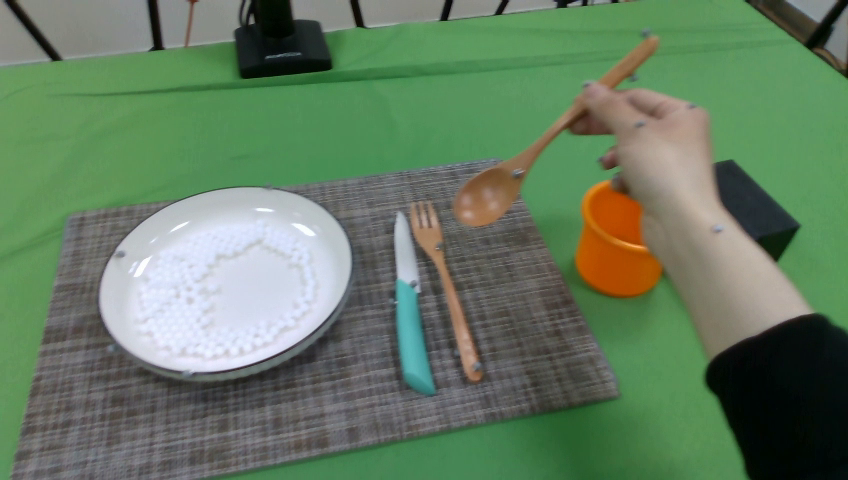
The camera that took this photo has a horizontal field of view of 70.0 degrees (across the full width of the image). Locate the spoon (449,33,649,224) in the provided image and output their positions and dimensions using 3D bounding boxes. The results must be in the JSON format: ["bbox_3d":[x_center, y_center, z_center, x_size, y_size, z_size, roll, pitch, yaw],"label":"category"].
[{"bbox_3d":[0.094,-0.083,0.460,0.194,0.022,0.041,-44,67,16],"label":"spoon"}]

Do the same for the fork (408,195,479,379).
[{"bbox_3d":[0.016,0.033,0.542,0.028,0.019,0.205,0,45,-19],"label":"fork"}]

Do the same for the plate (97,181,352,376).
[{"bbox_3d":[-0.165,0.030,0.525,0.209,0.038,0.207,1,47,-1],"label":"plate"}]

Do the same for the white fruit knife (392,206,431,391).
[{"bbox_3d":[-0.017,0.040,0.539,0.027,0.016,0.205,20,39,-26],"label":"white fruit knife"}]
